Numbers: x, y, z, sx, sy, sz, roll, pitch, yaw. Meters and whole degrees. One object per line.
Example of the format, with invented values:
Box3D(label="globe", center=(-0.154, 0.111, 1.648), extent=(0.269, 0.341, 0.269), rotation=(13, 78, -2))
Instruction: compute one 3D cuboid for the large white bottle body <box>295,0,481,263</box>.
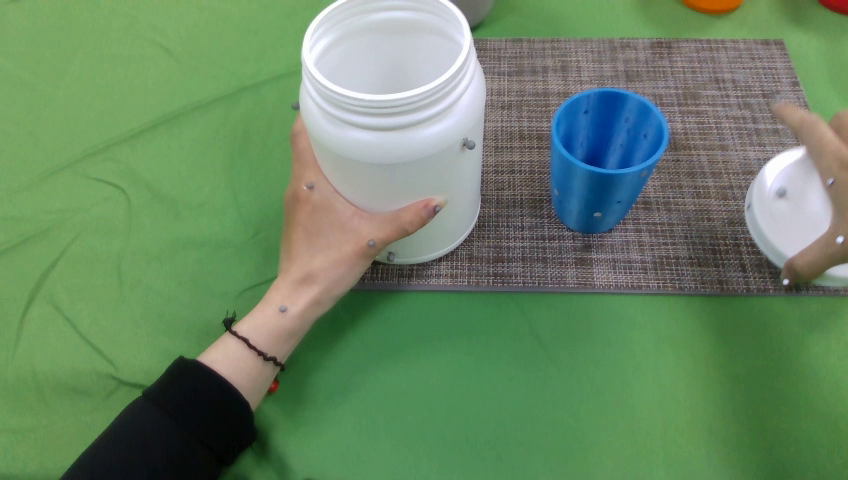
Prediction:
Box3D(label="large white bottle body", center=(-0.023, -0.080, 0.462), extent=(0.130, 0.186, 0.129), rotation=(-1, 57, 2))

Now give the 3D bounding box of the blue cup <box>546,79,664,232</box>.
Box3D(label="blue cup", center=(0.138, -0.058, 0.491), extent=(0.092, 0.101, 0.092), rotation=(-2, 57, 3))

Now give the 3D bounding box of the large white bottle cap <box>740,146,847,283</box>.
Box3D(label="large white bottle cap", center=(0.307, -0.022, 0.467), extent=(0.115, 0.018, 0.114), rotation=(-2, 63, 5))

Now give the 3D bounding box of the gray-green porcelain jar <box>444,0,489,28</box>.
Box3D(label="gray-green porcelain jar", center=(0.019, -0.293, 0.631), extent=(0.106, 0.127, 0.105), rotation=(-1, 59, 3))
